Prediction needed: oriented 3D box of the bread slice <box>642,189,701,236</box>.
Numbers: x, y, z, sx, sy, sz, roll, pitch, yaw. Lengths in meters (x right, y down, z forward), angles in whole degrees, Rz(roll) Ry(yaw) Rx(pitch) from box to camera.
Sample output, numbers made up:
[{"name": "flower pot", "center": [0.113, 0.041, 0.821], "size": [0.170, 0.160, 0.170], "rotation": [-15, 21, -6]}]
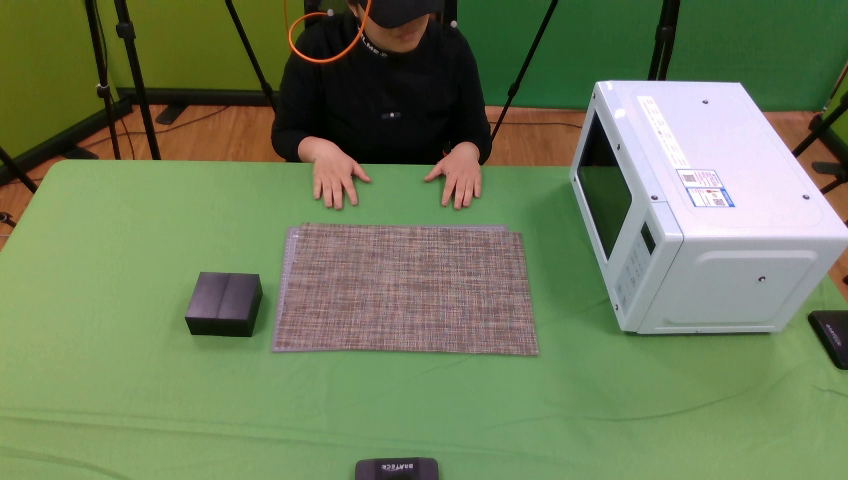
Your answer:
[{"name": "bread slice", "center": [0.494, -0.056, 1.197], "size": [0.105, 0.019, 0.131], "rotation": [6, 42, 4]}]

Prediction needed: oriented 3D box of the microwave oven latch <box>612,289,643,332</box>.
[{"name": "microwave oven latch", "center": [0.357, 0.124, 1.068], "size": [0.030, 0.029, 0.078], "rotation": [0, 45, -3]}]

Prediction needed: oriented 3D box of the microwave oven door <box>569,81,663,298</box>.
[{"name": "microwave oven door", "center": [0.353, -0.104, 1.147], "size": [0.039, 0.245, 0.353], "rotation": [0, 46, -4]}]

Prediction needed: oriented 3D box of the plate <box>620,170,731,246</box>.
[{"name": "plate", "center": [0.490, -0.060, 1.194], "size": [0.209, 0.038, 0.208], "rotation": [3, 45, -3]}]

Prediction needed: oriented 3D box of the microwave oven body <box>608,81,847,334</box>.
[{"name": "microwave oven body", "center": [0.501, -0.070, 1.132], "size": [0.326, 0.261, 0.438], "rotation": [-1, 45, -4]}]
